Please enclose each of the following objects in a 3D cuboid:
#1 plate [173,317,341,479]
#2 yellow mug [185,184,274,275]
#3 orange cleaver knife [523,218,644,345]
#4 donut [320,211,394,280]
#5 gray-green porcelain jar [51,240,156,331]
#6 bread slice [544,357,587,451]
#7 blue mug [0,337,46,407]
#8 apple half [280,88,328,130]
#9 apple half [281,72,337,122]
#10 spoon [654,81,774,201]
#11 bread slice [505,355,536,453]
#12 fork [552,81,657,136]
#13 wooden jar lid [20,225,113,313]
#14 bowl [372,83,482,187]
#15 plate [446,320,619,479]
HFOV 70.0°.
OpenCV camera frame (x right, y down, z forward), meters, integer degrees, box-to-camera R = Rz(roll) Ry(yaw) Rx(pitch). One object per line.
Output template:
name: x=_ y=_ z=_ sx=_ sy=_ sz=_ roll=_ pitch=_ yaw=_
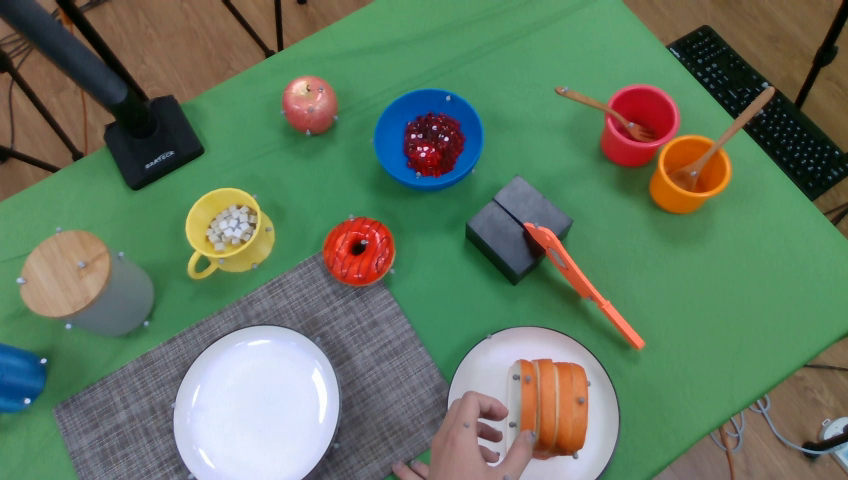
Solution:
plate: x=-0.204 y=0.201 z=0.757 sx=0.207 sy=0.039 sz=0.206 roll=-1 pitch=71 yaw=2
yellow mug: x=-0.273 y=-0.006 z=0.824 sx=0.099 sy=0.064 sz=0.130 roll=32 pitch=76 yaw=13
orange cleaver knife: x=0.201 y=0.051 z=0.770 sx=0.012 sy=0.077 sz=0.212 roll=-42 pitch=97 yaw=-8
donut: x=-0.090 y=0.008 z=0.817 sx=0.099 sy=0.048 sz=0.098 roll=-1 pitch=71 yaw=2
gray-green porcelain jar: x=-0.416 y=0.058 z=0.776 sx=0.106 sy=0.127 sz=0.105 roll=-1 pitch=70 yaw=3
bread slice: x=0.160 y=0.188 z=0.690 sx=0.019 sy=0.132 sz=0.104 roll=6 pitch=72 yaw=0
blue mug: x=-0.553 y=0.175 z=0.752 sx=0.082 sy=0.106 sz=0.116 roll=30 pitch=74 yaw=13
apple half: x=-0.177 y=-0.179 z=0.875 sx=0.081 sy=0.082 sz=0.032 roll=22 pitch=68 yaw=11
apple half: x=-0.162 y=-0.212 z=0.888 sx=0.080 sy=0.075 sz=0.053 roll=21 pitch=67 yaw=14
spoon: x=0.376 y=-0.125 z=0.789 sx=0.041 sy=0.022 sz=0.194 roll=49 pitch=124 yaw=18
bread slice: x=0.109 y=0.184 z=0.694 sx=0.018 sy=0.135 sz=0.106 roll=3 pitch=67 yaw=1
fork: x=0.247 y=-0.176 z=0.813 sx=0.209 sy=0.018 sz=0.028 roll=15 pitch=64 yaw=-36
wooden jar lid: x=-0.420 y=0.035 z=0.718 sx=0.108 sy=0.021 sz=0.107 roll=-1 pitch=69 yaw=4
bowl: x=0.006 y=-0.133 z=0.848 sx=0.151 sy=0.077 sz=0.150 roll=-1 pitch=71 yaw=3
plate: x=0.130 y=0.203 z=0.743 sx=0.209 sy=0.038 sz=0.207 roll=-1 pitch=70 yaw=3
